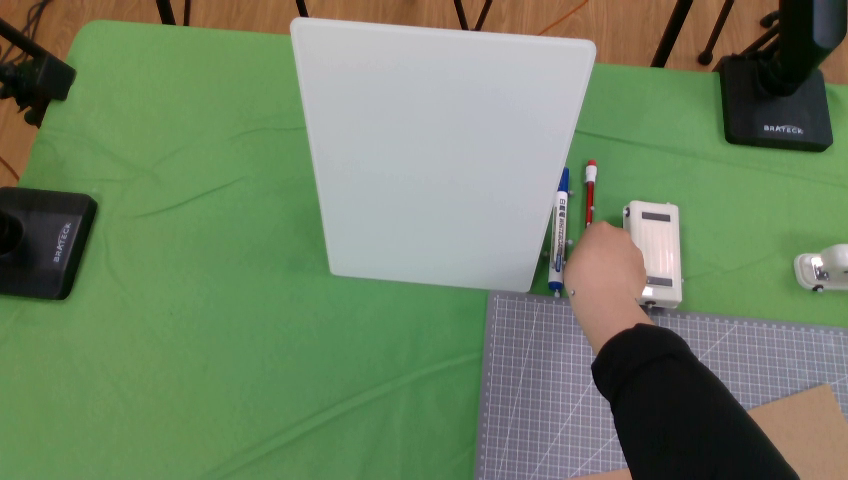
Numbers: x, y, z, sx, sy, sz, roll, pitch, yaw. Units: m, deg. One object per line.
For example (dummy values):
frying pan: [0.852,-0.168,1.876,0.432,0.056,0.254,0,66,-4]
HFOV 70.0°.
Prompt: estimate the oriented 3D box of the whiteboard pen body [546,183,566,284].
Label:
whiteboard pen body: [0.147,-0.019,0.666,0.017,0.017,0.140,7,70,3]

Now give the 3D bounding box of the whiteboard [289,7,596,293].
whiteboard: [0.015,-0.103,0.576,0.217,0.308,0.142,6,51,3]

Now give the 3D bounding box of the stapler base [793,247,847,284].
stapler base: [0.468,0.025,0.650,0.131,0.024,0.041,1,73,-2]

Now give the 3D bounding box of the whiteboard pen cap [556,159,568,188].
whiteboard pen cap: [0.155,-0.074,0.686,0.018,0.018,0.033,4,68,2]

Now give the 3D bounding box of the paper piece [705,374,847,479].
paper piece: [0.362,0.216,0.586,0.136,0.009,0.137,-17,73,-1]

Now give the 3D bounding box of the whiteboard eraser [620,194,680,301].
whiteboard eraser: [0.239,0.008,0.645,0.055,0.042,0.112,5,70,2]

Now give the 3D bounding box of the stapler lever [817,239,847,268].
stapler lever: [0.469,0.016,0.628,0.118,0.040,0.026,1,72,-1]

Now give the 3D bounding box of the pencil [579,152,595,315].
pencil: [0.179,-0.011,0.667,0.012,0.012,0.193,8,70,3]

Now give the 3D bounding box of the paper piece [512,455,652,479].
paper piece: [0.161,0.281,0.561,0.135,0.004,0.134,-8,71,-3]
